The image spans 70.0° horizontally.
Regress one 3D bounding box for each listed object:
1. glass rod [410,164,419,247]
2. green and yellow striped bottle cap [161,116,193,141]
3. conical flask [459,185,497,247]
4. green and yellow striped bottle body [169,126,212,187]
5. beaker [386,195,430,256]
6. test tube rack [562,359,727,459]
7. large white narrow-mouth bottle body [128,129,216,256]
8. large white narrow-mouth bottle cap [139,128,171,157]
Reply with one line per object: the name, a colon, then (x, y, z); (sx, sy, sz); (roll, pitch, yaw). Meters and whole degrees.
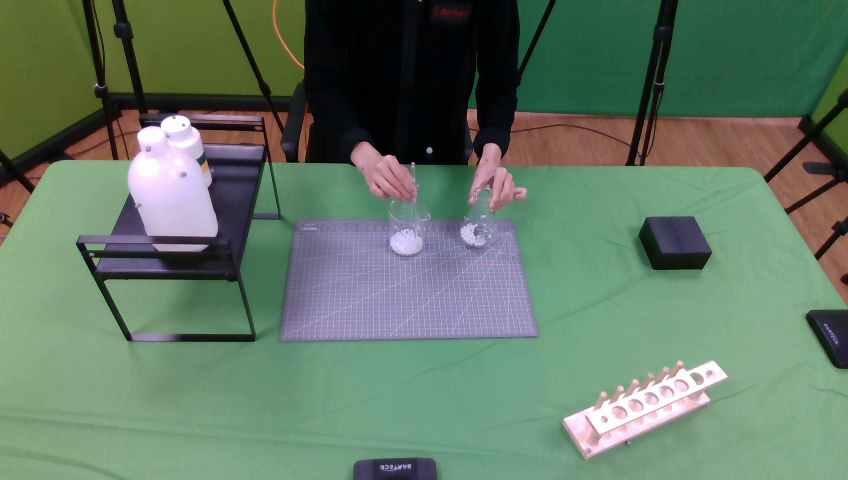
glass rod: (-0.017, -0.058, 1.109); (0.008, 0.201, 0.008); (-1, 45, 2)
green and yellow striped bottle cap: (-0.387, -0.174, 0.946); (0.045, 0.020, 0.045); (3, 44, -3)
conical flask: (0.108, -0.049, 1.167); (0.075, 0.122, 0.075); (0, 49, 0)
green and yellow striped bottle body: (-0.389, -0.139, 0.984); (0.063, 0.120, 0.063); (2, 46, -2)
beaker: (-0.031, -0.024, 1.161); (0.084, 0.101, 0.073); (18, 48, 12)
test tube rack: (0.341, 0.247, 0.940); (0.243, 0.085, 0.066); (-16, 49, -18)
large white narrow-mouth bottle body: (-0.366, -0.073, 0.872); (0.102, 0.195, 0.101); (3, 47, -3)
large white narrow-mouth bottle cap: (-0.358, -0.131, 0.808); (0.038, 0.024, 0.037); (3, 47, -3)
